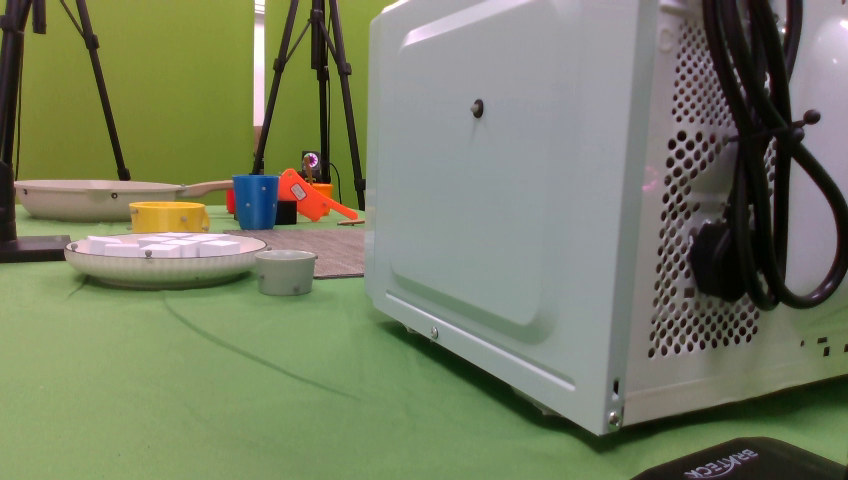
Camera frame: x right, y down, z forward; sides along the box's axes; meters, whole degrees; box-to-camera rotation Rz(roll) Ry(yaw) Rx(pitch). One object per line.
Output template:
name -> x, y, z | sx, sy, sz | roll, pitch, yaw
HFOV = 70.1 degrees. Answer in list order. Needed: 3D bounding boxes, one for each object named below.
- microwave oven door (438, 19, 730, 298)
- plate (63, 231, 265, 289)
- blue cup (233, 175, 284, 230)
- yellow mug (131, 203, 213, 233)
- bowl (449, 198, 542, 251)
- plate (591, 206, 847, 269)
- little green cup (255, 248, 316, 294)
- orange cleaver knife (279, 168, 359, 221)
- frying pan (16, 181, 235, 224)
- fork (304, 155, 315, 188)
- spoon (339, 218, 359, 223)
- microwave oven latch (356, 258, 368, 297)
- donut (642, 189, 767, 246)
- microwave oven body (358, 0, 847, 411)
microwave oven door -> 0.181, -0.076, 0.618 | 0.358, 0.243, 0.039 | -2, 8, -28
plate -> -0.288, 0.021, 0.687 | 0.208, 0.039, 0.207 | 2, 8, 0
blue cup -> -0.314, -0.071, 1.141 | 0.093, 0.100, 0.092 | 0, 7, 0
yellow mug -> -0.355, -0.020, 0.877 | 0.099, 0.064, 0.131 | 4, 7, 22
bowl -> 0.115, -0.026, 0.987 | 0.151, 0.077, 0.151 | 2, 8, 0
plate -> 0.247, -0.004, 0.509 | 0.209, 0.038, 0.209 | 3, 5, 0
little green cup -> -0.144, 0.032, 0.626 | 0.061, 0.038, 0.061 | 3, 8, 0
orange cleaver knife -> -0.236, -0.083, 1.332 | 0.212, 0.077, 0.012 | 31, -10, -32
frying pan -> -0.553, -0.096, 1.265 | 0.490, 0.102, 0.305 | -10, 13, -24
fork -> -0.268, -0.134, 1.446 | 0.028, 0.018, 0.207 | 1, -36, -1
spoon -> -0.086, -0.041, 1.268 | 0.193, 0.021, 0.041 | 4, 23, 13
microwave oven latch -> -0.019, 0.031, 0.525 | 0.079, 0.029, 0.030 | 0, 7, -19
donut -> 0.238, -0.018, 0.519 | 0.099, 0.048, 0.099 | 5, 4, 0
microwave oven body -> 0.210, -0.051, 0.471 | 0.444, 0.260, 0.324 | -1, 7, -28
